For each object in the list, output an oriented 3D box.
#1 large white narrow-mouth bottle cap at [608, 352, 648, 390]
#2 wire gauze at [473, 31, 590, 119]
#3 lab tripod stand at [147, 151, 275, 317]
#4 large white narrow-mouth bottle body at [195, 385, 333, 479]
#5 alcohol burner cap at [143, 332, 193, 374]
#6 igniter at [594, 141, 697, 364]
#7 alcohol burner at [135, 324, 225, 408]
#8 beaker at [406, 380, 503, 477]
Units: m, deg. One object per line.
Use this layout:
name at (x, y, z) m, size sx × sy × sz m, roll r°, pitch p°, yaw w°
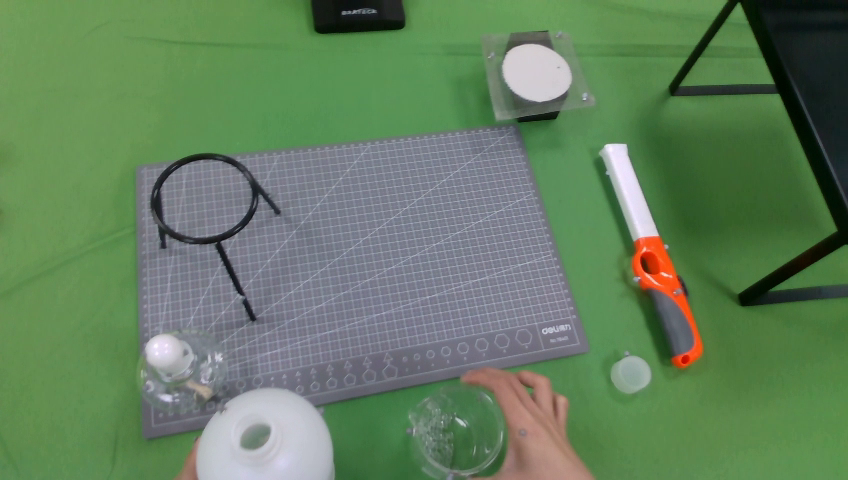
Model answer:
large white narrow-mouth bottle cap at (0.214, 0.138, 0.636) m, size 0.038 × 0.024 × 0.037 m, roll 2°, pitch 65°, yaw -5°
wire gauze at (0.128, -0.205, 0.734) m, size 0.122 × 0.011 × 0.124 m, roll -7°, pitch 67°, yaw -10°
lab tripod stand at (-0.199, -0.010, 0.585) m, size 0.149 × 0.132 × 0.147 m, roll 4°, pitch 65°, yaw -7°
large white narrow-mouth bottle body at (-0.124, 0.171, 0.478) m, size 0.102 × 0.196 × 0.101 m, roll 3°, pitch 60°, yaw -6°
alcohol burner cap at (-0.216, 0.093, 0.506) m, size 0.034 × 0.048 × 0.033 m, roll 2°, pitch 70°, yaw -7°
igniter at (0.252, 0.006, 0.696) m, size 0.057 × 0.025 × 0.274 m, roll -3°, pitch 66°, yaw -20°
alcohol burner at (-0.221, 0.107, 0.539) m, size 0.078 × 0.120 × 0.077 m, roll 4°, pitch 63°, yaw -7°
beaker at (0.021, 0.174, 0.550) m, size 0.084 × 0.101 × 0.073 m, roll 18°, pitch 64°, yaw 2°
